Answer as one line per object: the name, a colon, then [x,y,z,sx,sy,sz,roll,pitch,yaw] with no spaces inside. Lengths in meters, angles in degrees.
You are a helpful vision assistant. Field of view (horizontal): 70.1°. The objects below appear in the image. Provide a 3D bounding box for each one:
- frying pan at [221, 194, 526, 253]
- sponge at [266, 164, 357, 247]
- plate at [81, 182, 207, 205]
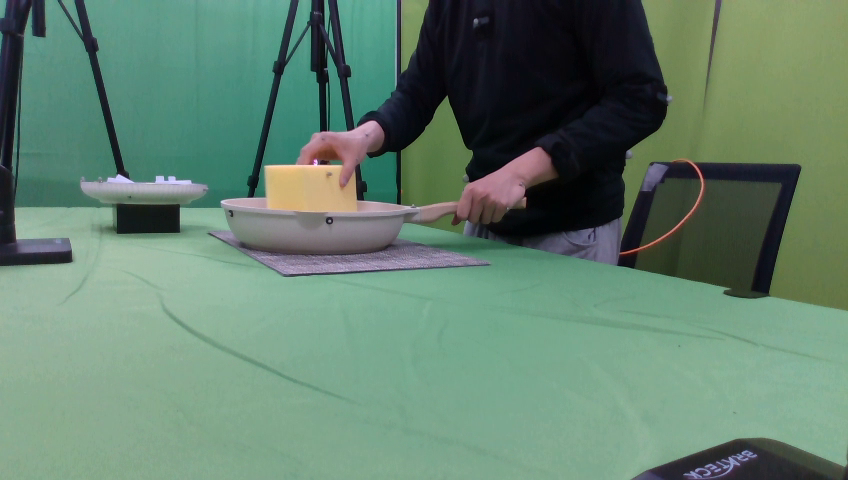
frying pan: [-0.070,-0.043,0.983,0.489,0.102,0.306,-7,9,-5]
sponge: [-0.169,-0.059,0.950,0.061,0.118,0.207,-1,7,13]
plate: [-0.504,-0.086,1.100,0.208,0.039,0.207,1,6,0]
